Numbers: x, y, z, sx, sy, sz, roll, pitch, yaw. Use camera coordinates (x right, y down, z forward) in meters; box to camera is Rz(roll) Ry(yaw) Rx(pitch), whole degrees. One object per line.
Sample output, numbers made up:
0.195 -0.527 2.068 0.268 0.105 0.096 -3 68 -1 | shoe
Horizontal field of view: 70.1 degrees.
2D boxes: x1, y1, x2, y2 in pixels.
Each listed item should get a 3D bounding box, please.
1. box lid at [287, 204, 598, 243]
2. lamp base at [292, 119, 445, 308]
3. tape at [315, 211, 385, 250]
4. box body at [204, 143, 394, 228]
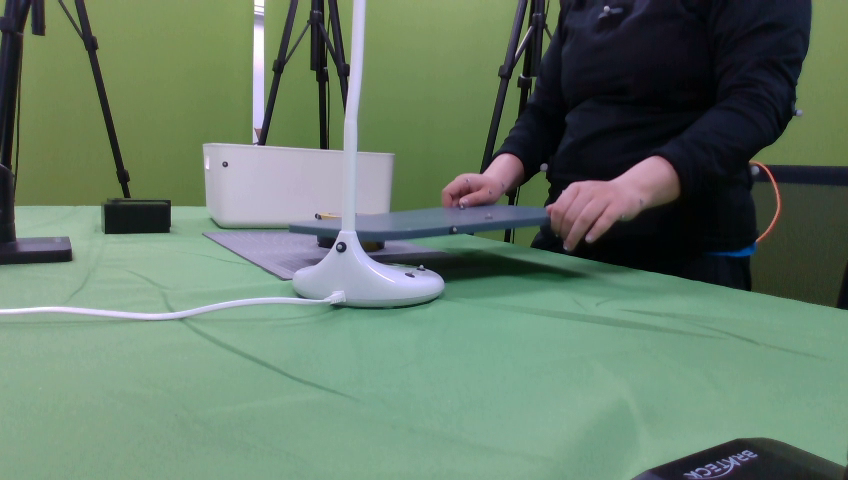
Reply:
0.027 -0.027 0.826 0.373 0.015 0.262 -7 8 -37 | box lid
-0.056 -0.030 0.616 0.160 0.180 0.179 4 10 8 | lamp base
-0.119 -0.017 0.973 0.117 0.052 0.117 2 7 0 | tape
-0.271 -0.117 1.291 0.366 0.160 0.253 -1 8 -25 | box body
